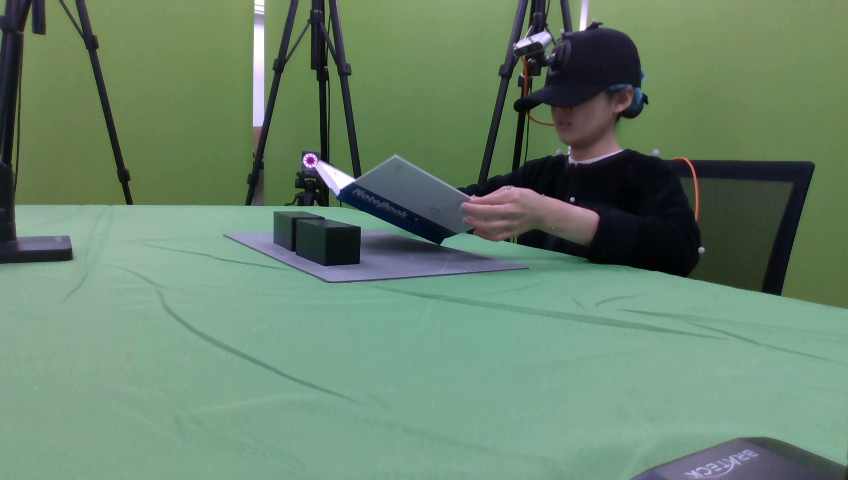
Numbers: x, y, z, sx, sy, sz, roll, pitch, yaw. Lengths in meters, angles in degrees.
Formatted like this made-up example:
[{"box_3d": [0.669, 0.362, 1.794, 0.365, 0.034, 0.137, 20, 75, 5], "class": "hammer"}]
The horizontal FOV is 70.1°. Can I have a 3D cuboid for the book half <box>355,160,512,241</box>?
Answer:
[{"box_3d": [0.015, -0.054, 0.940, 0.211, 0.007, 0.142, 26, -30, -32], "class": "book half"}]
